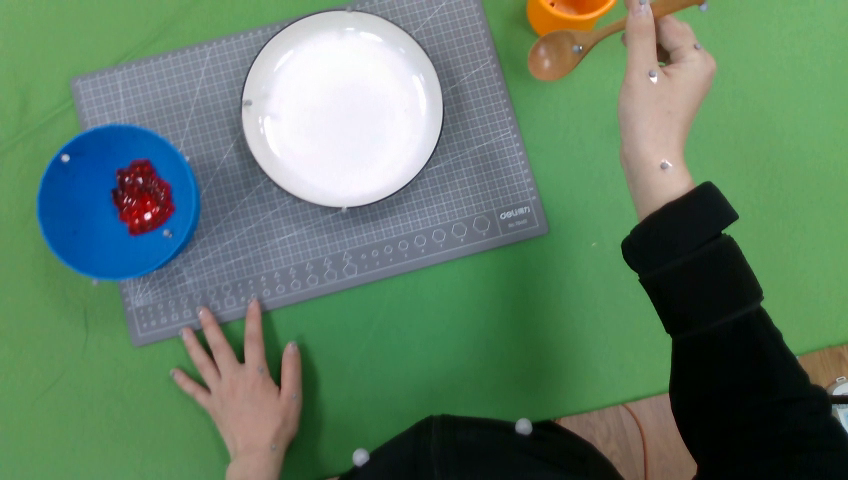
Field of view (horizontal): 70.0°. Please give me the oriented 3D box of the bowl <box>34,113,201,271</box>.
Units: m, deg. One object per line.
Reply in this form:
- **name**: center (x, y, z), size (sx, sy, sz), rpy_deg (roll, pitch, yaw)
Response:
- **bowl**: center (-0.287, -0.042, 0.601), size (0.151, 0.077, 0.151), rpy_deg (0, 86, 0)

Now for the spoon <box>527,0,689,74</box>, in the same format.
- **spoon**: center (0.147, -0.167, 0.462), size (0.022, 0.192, 0.041), rpy_deg (-11, 95, -29)

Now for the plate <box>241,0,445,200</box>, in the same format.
- **plate**: center (-0.082, -0.143, 0.630), size (0.209, 0.038, 0.208), rpy_deg (0, 86, 0)
